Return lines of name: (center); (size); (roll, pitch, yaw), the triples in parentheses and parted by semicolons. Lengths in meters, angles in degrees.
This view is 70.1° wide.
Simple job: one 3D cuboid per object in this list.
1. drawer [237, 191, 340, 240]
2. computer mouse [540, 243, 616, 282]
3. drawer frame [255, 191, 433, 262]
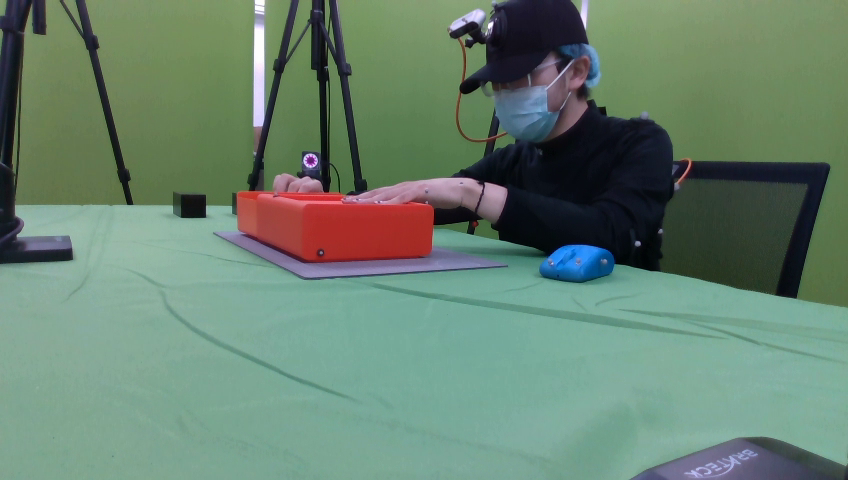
drawer: (-0.186, -0.039, 1.006); (0.195, 0.073, 0.210); (-1, 8, -32)
computer mouse: (0.204, 0.028, 0.797); (0.062, 0.041, 0.118); (11, 15, 38)
drawer frame: (-0.126, -0.026, 0.910); (0.203, 0.082, 0.212); (-1, 8, -32)
